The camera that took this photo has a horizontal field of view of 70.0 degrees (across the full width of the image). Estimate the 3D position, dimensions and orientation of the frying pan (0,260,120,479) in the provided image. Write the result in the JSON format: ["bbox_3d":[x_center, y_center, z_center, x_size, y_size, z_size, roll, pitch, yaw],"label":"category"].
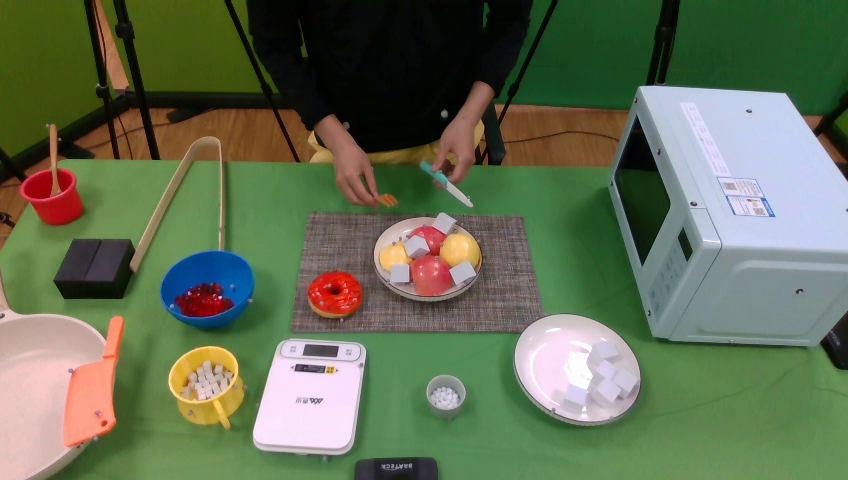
[{"bbox_3d":[-0.647,0.164,0.936,0.307,0.103,0.485,-19,58,-22],"label":"frying pan"}]

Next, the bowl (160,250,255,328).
[{"bbox_3d":[-0.362,0.098,1.040,0.151,0.077,0.150,2,45,-2],"label":"bowl"}]

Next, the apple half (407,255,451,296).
[{"bbox_3d":[0.011,0.058,1.103,0.075,0.053,0.080,-6,43,-13],"label":"apple half"}]

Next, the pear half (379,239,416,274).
[{"bbox_3d":[-0.048,0.024,1.147,0.070,0.031,0.087,12,48,-10],"label":"pear half"}]

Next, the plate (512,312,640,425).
[{"bbox_3d":[0.246,0.213,0.999,0.208,0.039,0.206,2,46,-2],"label":"plate"}]

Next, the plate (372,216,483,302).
[{"bbox_3d":[0.006,0.038,1.145,0.209,0.038,0.208,2,46,-2],"label":"plate"}]

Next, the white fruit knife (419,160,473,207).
[{"bbox_3d":[0.042,-0.111,1.171,0.016,0.027,0.206,-21,38,-20],"label":"white fruit knife"}]

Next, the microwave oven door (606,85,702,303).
[{"bbox_3d":[0.422,-0.094,1.140,0.039,0.245,0.353,2,46,-1],"label":"microwave oven door"}]

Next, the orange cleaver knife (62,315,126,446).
[{"bbox_3d":[-0.480,0.199,0.887,0.077,0.012,0.210,-9,47,-8],"label":"orange cleaver knife"}]

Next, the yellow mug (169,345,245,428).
[{"bbox_3d":[-0.322,0.230,0.922,0.100,0.064,0.130,-24,53,-25],"label":"yellow mug"}]

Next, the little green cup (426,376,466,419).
[{"bbox_3d":[0.033,0.248,0.950,0.061,0.039,0.061,2,46,-2],"label":"little green cup"}]

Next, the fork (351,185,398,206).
[{"bbox_3d":[-0.102,-0.089,1.187,0.028,0.019,0.206,-26,21,-20],"label":"fork"}]

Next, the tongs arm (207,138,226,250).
[{"bbox_3d":[-0.431,-0.090,1.245,0.051,0.026,0.382,-8,46,-7],"label":"tongs arm"}]

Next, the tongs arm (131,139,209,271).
[{"bbox_3d":[-0.514,-0.085,1.237,0.028,0.028,0.385,0,45,5],"label":"tongs arm"}]

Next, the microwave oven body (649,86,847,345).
[{"bbox_3d":[0.567,-0.053,1.118,0.326,0.261,0.439,2,45,-1],"label":"microwave oven body"}]

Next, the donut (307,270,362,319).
[{"bbox_3d":[-0.157,0.097,1.073,0.099,0.048,0.098,4,45,-4],"label":"donut"}]

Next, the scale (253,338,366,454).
[{"bbox_3d":[-0.175,0.236,0.951,0.149,0.032,0.199,4,45,-1],"label":"scale"}]

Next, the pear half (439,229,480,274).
[{"bbox_3d":[0.065,0.007,1.150,0.076,0.056,0.109,-10,43,-2],"label":"pear half"}]

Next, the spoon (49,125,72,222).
[{"bbox_3d":[-0.718,-0.131,1.189,0.041,0.021,0.193,-4,90,-7],"label":"spoon"}]

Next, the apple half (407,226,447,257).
[{"bbox_3d":[0.009,-0.006,1.176,0.081,0.033,0.081,2,51,-2],"label":"apple half"}]

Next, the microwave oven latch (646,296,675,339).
[{"bbox_3d":[0.412,0.134,1.061,0.030,0.029,0.078,4,45,1],"label":"microwave oven latch"}]
